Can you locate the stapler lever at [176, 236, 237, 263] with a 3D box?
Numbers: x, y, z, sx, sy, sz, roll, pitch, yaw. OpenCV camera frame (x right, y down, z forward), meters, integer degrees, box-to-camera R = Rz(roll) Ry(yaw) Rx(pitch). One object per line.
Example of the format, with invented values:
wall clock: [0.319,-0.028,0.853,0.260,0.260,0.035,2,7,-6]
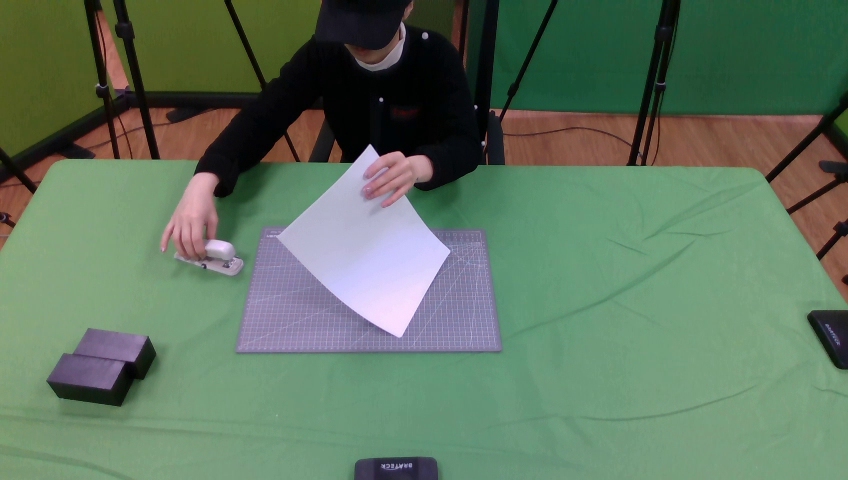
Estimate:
stapler lever: [-0.403,0.012,1.120,0.118,0.040,0.026,15,44,11]

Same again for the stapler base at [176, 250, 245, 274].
stapler base: [-0.402,0.029,1.136,0.130,0.024,0.041,14,43,12]
